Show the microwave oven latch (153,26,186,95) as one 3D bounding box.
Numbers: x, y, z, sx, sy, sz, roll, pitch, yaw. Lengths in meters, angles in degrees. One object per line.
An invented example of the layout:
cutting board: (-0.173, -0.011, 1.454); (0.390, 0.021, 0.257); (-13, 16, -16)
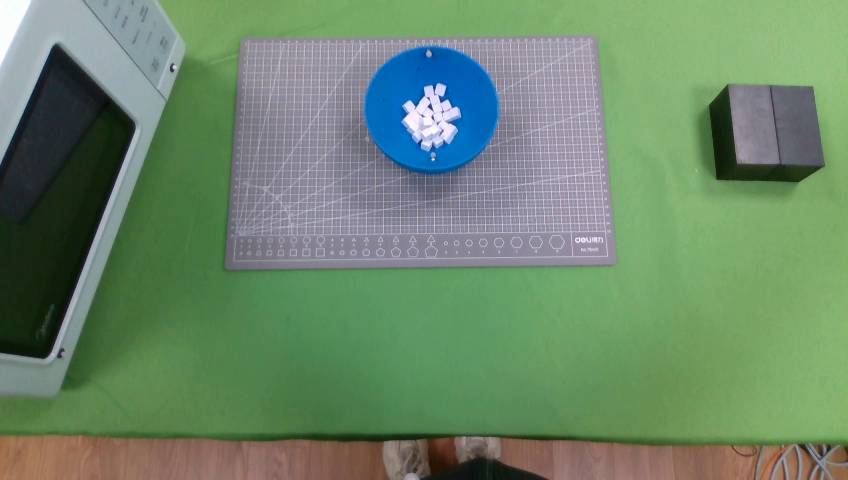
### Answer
microwave oven latch: (-0.311, -0.216, 0.722); (0.030, 0.029, 0.079); (14, 76, 3)

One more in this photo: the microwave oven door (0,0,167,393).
microwave oven door: (-0.363, -0.037, 0.571); (0.039, 0.245, 0.354); (13, 75, 4)

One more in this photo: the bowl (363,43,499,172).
bowl: (0.008, -0.140, 0.700); (0.151, 0.077, 0.150); (0, 76, 0)

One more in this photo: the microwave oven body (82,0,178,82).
microwave oven body: (-0.496, -0.108, 0.593); (0.326, 0.261, 0.439); (13, 76, 3)
